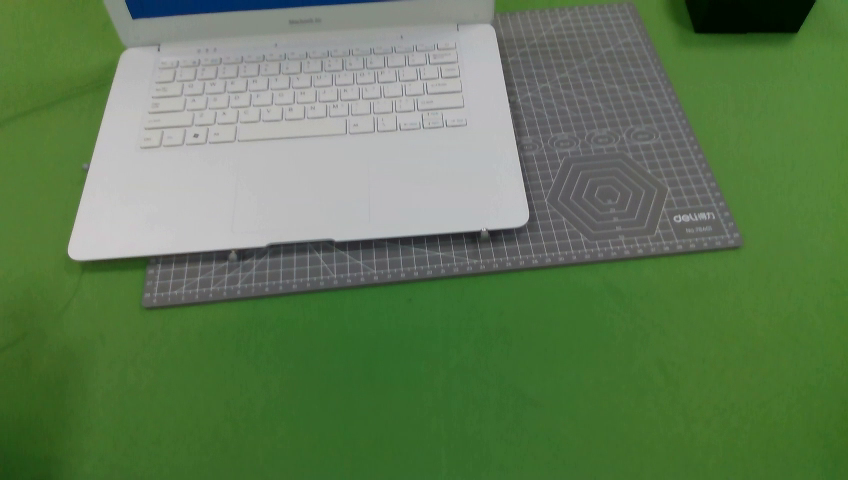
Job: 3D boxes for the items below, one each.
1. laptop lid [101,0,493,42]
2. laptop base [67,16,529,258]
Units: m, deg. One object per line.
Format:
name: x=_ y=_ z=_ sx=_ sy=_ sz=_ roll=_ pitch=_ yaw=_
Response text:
laptop lid: x=-0.116 y=-0.275 z=0.491 sx=0.357 sy=0.244 sz=0.013 roll=-6 pitch=49 yaw=0
laptop base: x=-0.103 y=-0.096 z=0.519 sx=0.354 sy=0.023 sz=0.233 roll=-5 pitch=61 yaw=-1
